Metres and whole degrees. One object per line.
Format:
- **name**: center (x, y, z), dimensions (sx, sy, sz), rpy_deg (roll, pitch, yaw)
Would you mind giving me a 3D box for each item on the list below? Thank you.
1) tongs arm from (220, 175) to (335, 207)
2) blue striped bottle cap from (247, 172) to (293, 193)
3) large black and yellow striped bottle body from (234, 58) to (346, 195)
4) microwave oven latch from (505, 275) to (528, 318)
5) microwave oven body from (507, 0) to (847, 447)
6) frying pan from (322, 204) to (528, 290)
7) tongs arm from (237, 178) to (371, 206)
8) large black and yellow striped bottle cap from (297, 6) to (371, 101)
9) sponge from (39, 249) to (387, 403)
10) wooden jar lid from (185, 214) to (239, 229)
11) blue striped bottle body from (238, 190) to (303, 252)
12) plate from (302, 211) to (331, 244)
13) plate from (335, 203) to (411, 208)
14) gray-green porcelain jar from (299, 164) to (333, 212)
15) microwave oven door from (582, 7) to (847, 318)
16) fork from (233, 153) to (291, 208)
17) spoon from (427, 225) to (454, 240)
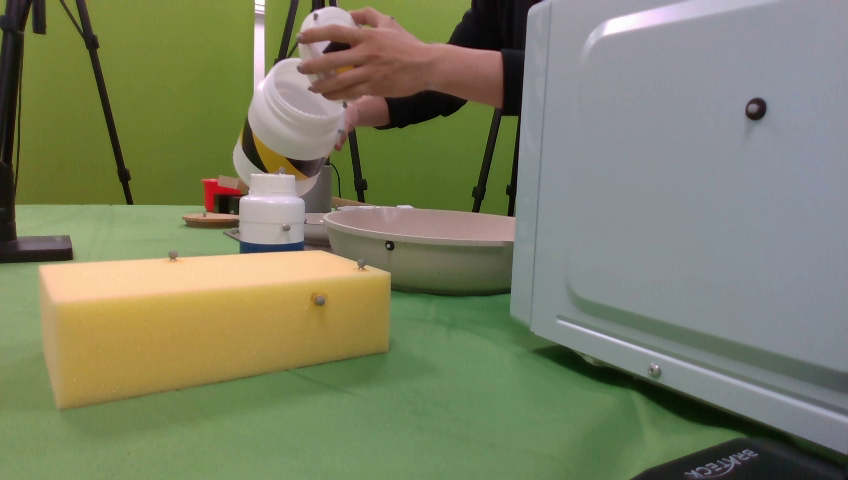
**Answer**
- **tongs arm**: center (-0.284, -0.105, 1.445), dimensions (0.389, 0.027, 0.028), rpy_deg (10, -3, -23)
- **blue striped bottle cap**: center (-0.152, -0.057, 0.598), dimensions (0.044, 0.020, 0.044), rpy_deg (3, 7, 0)
- **large black and yellow striped bottle body**: center (-0.195, -0.161, 0.887), dimensions (0.131, 0.130, 0.183), rpy_deg (-3, -29, -32)
- **microwave oven latch**: center (0.100, 0.041, 0.472), dimensions (0.079, 0.029, 0.030), rpy_deg (-2, 8, -30)
- **microwave oven body**: center (0.331, -0.042, 0.425), dimensions (0.444, 0.260, 0.324), rpy_deg (-2, 8, -31)
- **frying pan**: center (0.110, -0.018, 0.800), dimensions (0.490, 0.102, 0.305), rpy_deg (-12, 16, -30)
- **tongs arm**: center (-0.241, -0.095, 1.374), dimensions (0.387, 0.026, 0.050), rpy_deg (9, 0, -37)
- **large black and yellow striped bottle cap**: center (-0.109, -0.233, 0.758), dimensions (0.018, 0.115, 0.115), rpy_deg (-2, 4, 37)
- **sponge**: center (-0.142, 0.047, 0.420), dimensions (0.208, 0.061, 0.117), rpy_deg (-3, 8, -36)
- **wooden jar lid**: center (-0.404, -0.037, 1.169), dimensions (0.108, 0.020, 0.108), rpy_deg (3, 7, 0)
- **blue striped bottle body**: center (-0.153, -0.007, 0.606), dimensions (0.063, 0.120, 0.063), rpy_deg (2, 8, 0)
- **plate**: center (-0.139, -0.022, 1.021), dimensions (0.209, 0.038, 0.209), rpy_deg (2, 8, 0)
- **plate**: center (-0.089, -0.053, 1.309), dimensions (0.208, 0.039, 0.207), rpy_deg (2, 8, 0)
- **gray-green porcelain jar**: center (-0.238, -0.092, 1.221), dimensions (0.106, 0.126, 0.106), rpy_deg (2, 7, 0)
- **microwave oven door**: center (0.295, -0.067, 0.569), dimensions (0.358, 0.243, 0.039), rpy_deg (-3, 8, -31)
- **fork**: center (-0.396, -0.143, 1.486), dimensions (0.028, 0.018, 0.208), rpy_deg (20, -26, 45)
- **spoon**: center (0.024, -0.019, 1.125), dimensions (0.042, 0.021, 0.193), rpy_deg (-16, 9, -4)
